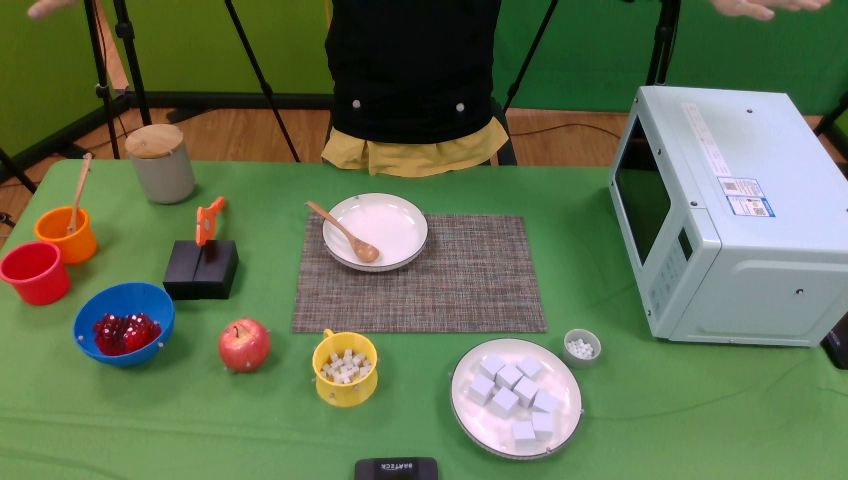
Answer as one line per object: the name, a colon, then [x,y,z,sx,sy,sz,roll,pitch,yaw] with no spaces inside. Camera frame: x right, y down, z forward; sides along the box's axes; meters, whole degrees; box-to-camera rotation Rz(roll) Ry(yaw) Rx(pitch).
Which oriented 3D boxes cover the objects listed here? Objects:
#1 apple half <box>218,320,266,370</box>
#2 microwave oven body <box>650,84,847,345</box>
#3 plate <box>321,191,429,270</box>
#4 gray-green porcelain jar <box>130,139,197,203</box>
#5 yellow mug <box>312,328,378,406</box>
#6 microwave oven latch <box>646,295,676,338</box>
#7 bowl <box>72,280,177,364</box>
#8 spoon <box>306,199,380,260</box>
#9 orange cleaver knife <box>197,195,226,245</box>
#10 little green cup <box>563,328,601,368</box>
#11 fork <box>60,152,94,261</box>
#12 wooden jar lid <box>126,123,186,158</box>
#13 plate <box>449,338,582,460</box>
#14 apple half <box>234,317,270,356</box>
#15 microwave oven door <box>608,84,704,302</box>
apple half: [-0.298,0.176,0.971,0.080,0.075,0.053,35,57,22]
microwave oven body: [0.568,-0.054,1.116,0.326,0.261,0.439,2,46,-1]
plate: [-0.094,-0.015,1.185,0.209,0.038,0.208,2,46,-2]
gray-green porcelain jar: [-0.522,-0.148,1.224,0.106,0.127,0.105,2,47,-2]
yellow mug: [-0.132,0.193,0.971,0.100,0.064,0.130,-22,51,-22]
microwave oven latch: [0.412,0.133,1.060,0.030,0.029,0.078,3,46,0]
bowl: [-0.473,0.147,0.982,0.151,0.077,0.150,2,46,-2]
spoon: [-0.160,-0.023,1.170,0.193,0.022,0.041,41,62,16]
orange cleaver knife: [-0.404,-0.042,1.157,0.012,0.077,0.210,1,14,-6]
little green cup: [0.265,0.184,1.025,0.061,0.039,0.061,1,46,-1]
fork: [-0.638,-0.063,1.119,0.028,0.018,0.207,12,90,12]
wooden jar lid: [-0.519,-0.190,1.179,0.108,0.021,0.107,2,44,-2]
plate: [0.141,0.251,0.956,0.208,0.039,0.206,2,46,-2]
apple half: [-0.273,0.154,0.992,0.081,0.082,0.033,33,56,25]
microwave oven door: [0.424,-0.096,1.138,0.039,0.245,0.353,3,46,-1]
